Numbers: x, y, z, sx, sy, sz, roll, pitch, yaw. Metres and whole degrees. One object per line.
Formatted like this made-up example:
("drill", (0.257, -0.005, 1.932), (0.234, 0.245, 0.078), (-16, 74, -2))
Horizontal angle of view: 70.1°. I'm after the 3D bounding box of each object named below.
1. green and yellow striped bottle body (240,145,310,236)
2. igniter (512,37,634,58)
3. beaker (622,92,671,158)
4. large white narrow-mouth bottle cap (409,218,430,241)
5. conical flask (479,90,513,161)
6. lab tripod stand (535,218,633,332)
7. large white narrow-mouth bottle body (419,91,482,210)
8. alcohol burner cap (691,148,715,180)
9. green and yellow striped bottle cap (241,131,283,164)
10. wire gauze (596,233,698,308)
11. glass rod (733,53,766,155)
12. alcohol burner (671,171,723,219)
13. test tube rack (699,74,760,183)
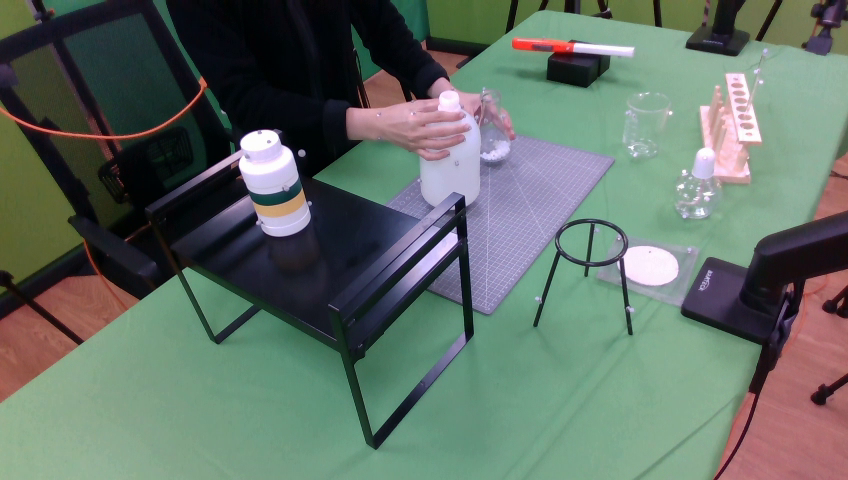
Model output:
("green and yellow striped bottle body", (-0.181, -0.069, 0.729), (0.063, 0.120, 0.063), (-4, 40, 4))
("igniter", (0.328, -0.433, 1.360), (0.275, 0.025, 0.057), (12, 33, 20))
("beaker", (0.402, -0.210, 1.106), (0.074, 0.101, 0.083), (-9, 40, -2))
("large white narrow-mouth bottle cap", (-0.008, -0.017, 0.999), (0.038, 0.024, 0.037), (-3, 39, 3))
("conical flask", (0.123, -0.209, 1.094), (0.075, 0.122, 0.075), (-4, 45, 4))
("lab tripod stand", (0.216, 0.050, 0.803), (0.148, 0.132, 0.147), (-4, 42, 4))
("large white narrow-mouth bottle body", (0.043, -0.149, 0.980), (0.102, 0.195, 0.101), (0, 43, 1))
("alcohol burner cap", (0.432, -0.120, 0.930), (0.034, 0.048, 0.033), (-7, 48, 8))
("green and yellow striped bottle cap", (-0.187, -0.107, 0.695), (0.045, 0.020, 0.045), (-4, 39, 3))
("wire gauze", (0.331, 0.038, 0.897), (0.124, 0.011, 0.121), (18, 47, 26))
("glass rod", (0.540, -0.220, 1.007), (0.008, 0.201, 0.008), (-5, 46, 6))
("alcohol burner", (0.434, -0.093, 0.955), (0.078, 0.119, 0.077), (-3, 43, 4))
("test tube rack", (0.547, -0.208, 1.095), (0.066, 0.085, 0.242), (6, 42, 16))
